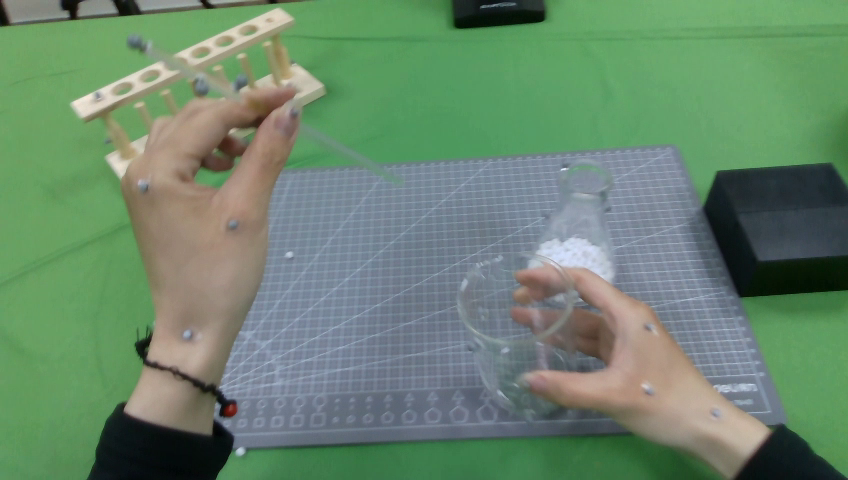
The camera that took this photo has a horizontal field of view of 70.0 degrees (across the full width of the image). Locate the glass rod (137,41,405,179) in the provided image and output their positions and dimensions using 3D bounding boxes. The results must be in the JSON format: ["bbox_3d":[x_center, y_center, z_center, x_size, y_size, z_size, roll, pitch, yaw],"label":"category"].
[{"bbox_3d":[-0.068,-0.064,0.343,0.008,0.201,0.008,-8,74,32],"label":"glass rod"}]

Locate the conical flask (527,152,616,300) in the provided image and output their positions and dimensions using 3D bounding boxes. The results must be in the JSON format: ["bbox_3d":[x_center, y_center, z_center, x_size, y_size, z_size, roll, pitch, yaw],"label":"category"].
[{"bbox_3d":[0.122,-0.013,0.480,0.075,0.123,0.074,-3,51,4],"label":"conical flask"}]

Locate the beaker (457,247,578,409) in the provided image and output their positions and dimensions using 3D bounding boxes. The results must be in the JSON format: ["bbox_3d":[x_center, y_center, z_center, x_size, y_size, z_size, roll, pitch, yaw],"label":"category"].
[{"bbox_3d":[0.066,0.063,0.419,0.074,0.101,0.083,-33,46,-15],"label":"beaker"}]

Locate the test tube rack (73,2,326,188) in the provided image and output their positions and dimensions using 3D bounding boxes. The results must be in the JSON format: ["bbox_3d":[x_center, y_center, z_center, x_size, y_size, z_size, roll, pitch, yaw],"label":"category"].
[{"bbox_3d":[-0.232,-0.162,0.659,0.242,0.086,0.066,-34,56,-20],"label":"test tube rack"}]
